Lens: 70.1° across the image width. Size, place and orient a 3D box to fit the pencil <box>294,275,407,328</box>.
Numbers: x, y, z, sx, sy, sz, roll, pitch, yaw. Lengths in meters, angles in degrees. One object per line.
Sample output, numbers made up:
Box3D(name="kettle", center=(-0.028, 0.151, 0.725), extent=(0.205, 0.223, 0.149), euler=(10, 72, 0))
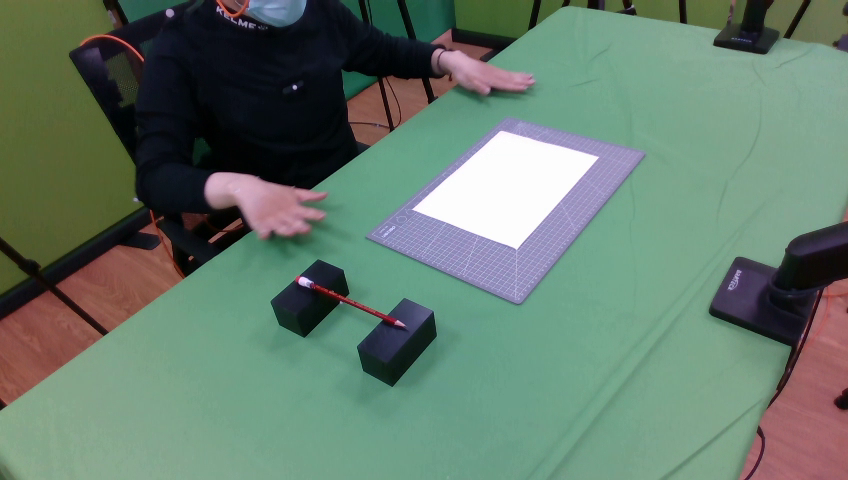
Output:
Box3D(name="pencil", center=(-0.103, 0.083, 0.820), extent=(0.192, 0.012, 0.012), euler=(20, 47, 27))
